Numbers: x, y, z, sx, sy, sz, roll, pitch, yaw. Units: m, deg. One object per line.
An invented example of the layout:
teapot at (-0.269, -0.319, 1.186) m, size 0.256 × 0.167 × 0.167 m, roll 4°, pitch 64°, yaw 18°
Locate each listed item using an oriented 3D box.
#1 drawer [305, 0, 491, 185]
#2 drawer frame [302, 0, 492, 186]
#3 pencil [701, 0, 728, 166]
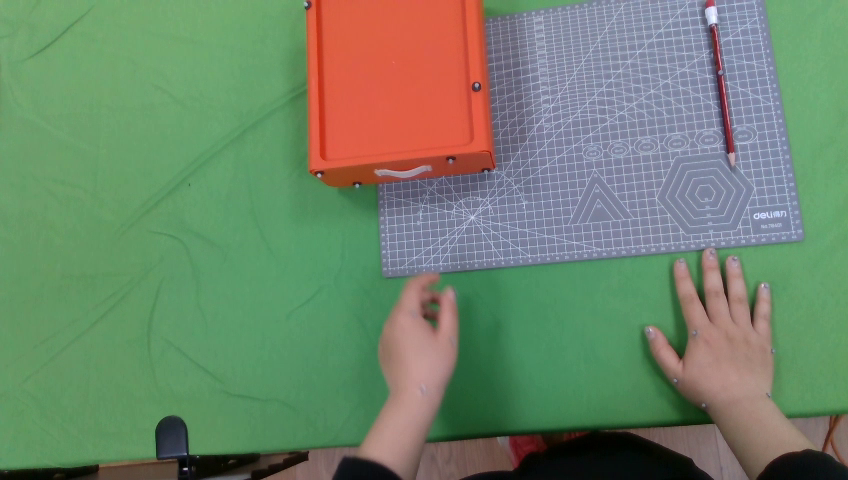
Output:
drawer at (-0.030, -0.176, 0.686) m, size 0.194 × 0.073 × 0.211 m, roll -6°, pitch 79°, yaw 11°
drawer frame at (-0.032, -0.178, 0.685) m, size 0.201 × 0.083 × 0.212 m, roll -6°, pitch 79°, yaw 11°
pencil at (0.317, -0.175, 0.659) m, size 0.012 × 0.012 × 0.193 m, roll -5°, pitch 83°, yaw 10°
